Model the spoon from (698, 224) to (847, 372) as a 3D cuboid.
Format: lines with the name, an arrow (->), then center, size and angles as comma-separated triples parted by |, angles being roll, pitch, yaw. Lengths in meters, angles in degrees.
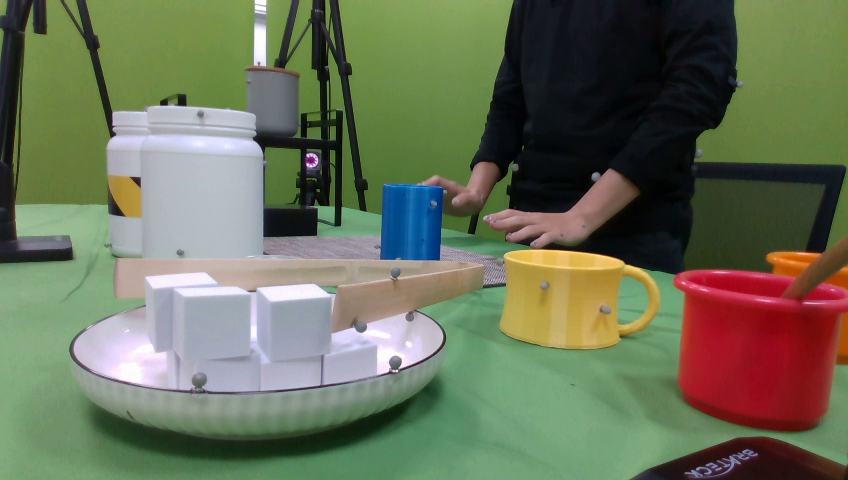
spoon -> 0.195, 0.032, 0.323 | 0.041, 0.021, 0.194 | 1, -36, 2

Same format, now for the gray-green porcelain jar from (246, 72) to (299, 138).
gray-green porcelain jar -> -0.314, -0.277, 1.256 | 0.106, 0.126, 0.106 | 3, 8, 0

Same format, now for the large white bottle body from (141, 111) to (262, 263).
large white bottle body -> -0.254, -0.053, 0.697 | 0.131, 0.184, 0.130 | 2, 7, 0

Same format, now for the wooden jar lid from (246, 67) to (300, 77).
wooden jar lid -> -0.312, -0.339, 1.247 | 0.108, 0.020, 0.108 | 4, 8, 0

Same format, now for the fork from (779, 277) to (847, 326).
fork -> 0.335, 0.018, 0.443 | 0.028, 0.018, 0.207 | -1, -36, -20

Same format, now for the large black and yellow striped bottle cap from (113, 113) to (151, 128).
large black and yellow striped bottle cap -> -0.348, -0.154, 0.800 | 0.115, 0.019, 0.115 | 2, 6, 0

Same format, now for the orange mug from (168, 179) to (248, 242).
orange mug -> -0.351, -0.050, 0.986 | 0.126, 0.101, 0.083 | -3, 8, -9

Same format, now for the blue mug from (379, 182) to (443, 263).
blue mug -> -0.020, -0.026, 0.833 | 0.082, 0.106, 0.116 | 1, 7, -7

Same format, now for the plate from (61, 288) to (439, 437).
plate -> -0.095, 0.069, 0.362 | 0.208, 0.039, 0.207 | 3, 7, 0

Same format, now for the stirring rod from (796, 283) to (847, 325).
stirring rod -> 0.347, 0.019, 0.460 | 0.014, 0.176, 0.006 | -17, 59, -26

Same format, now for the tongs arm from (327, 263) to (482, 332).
tongs arm -> -0.003, 0.036, 0.493 | 0.050, 0.026, 0.386 | 1, 0, 19

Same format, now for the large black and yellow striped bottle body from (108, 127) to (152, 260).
large black and yellow striped bottle body -> -0.350, -0.071, 0.812 | 0.131, 0.184, 0.130 | 2, 7, 0

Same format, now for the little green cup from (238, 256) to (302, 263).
little green cup -> -0.150, 0.038, 0.590 | 0.061, 0.038, 0.061 | 3, 6, 0

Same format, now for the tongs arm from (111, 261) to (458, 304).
tongs arm -> -0.080, 0.032, 0.527 | 0.028, 0.027, 0.389 | -3, -3, 33

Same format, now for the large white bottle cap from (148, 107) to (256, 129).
large white bottle cap -> -0.250, -0.137, 0.686 | 0.115, 0.018, 0.115 | 2, 8, 0

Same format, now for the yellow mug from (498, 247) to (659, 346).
yellow mug -> 0.130, 0.045, 0.508 | 0.131, 0.064, 0.100 | 4, 7, 6
